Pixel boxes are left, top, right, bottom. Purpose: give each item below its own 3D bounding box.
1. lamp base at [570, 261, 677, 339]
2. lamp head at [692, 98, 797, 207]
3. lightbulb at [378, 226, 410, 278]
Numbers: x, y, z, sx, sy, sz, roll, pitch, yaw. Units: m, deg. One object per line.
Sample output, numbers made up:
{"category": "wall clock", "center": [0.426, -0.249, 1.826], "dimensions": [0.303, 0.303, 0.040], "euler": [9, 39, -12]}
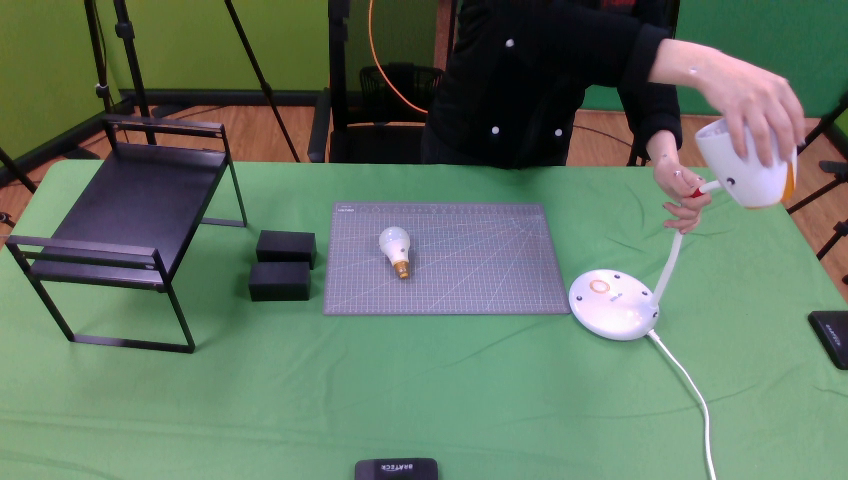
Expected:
{"category": "lamp base", "center": [0.360, 0.068, 1.047], "dimensions": [0.178, 0.181, 0.160], "euler": [38, 55, 25]}
{"category": "lamp head", "center": [0.413, -0.103, 0.769], "dimensions": [0.112, 0.123, 0.112], "euler": [-22, 14, 6]}
{"category": "lightbulb", "center": [-0.051, 0.024, 1.148], "dimensions": [0.059, 0.060, 0.107], "euler": [-11, 63, -14]}
